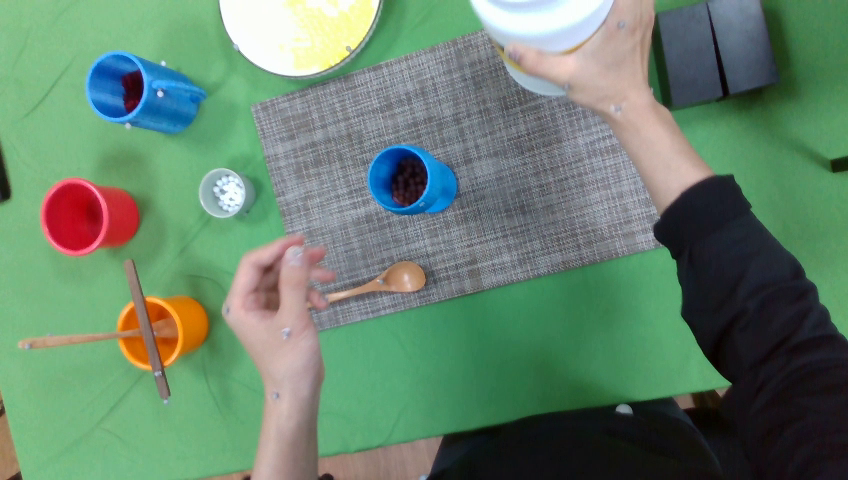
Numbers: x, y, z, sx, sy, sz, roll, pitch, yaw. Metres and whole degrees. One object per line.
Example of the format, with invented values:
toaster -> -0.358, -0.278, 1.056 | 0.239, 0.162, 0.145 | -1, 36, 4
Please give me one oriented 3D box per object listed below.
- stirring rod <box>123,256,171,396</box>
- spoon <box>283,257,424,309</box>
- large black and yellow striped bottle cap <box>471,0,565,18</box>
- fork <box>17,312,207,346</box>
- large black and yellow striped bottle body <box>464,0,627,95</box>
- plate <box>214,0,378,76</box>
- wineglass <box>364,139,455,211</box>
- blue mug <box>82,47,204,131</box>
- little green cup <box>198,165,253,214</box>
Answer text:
stirring rod -> -0.337, 0.104, 0.739 | 0.014, 0.006, 0.176 | -15, 91, 12
spoon -> -0.091, 0.059, 0.754 | 0.193, 0.021, 0.042 | -16, 112, 11
large black and yellow striped bottle cap -> 0.076, -0.228, 0.463 | 0.114, 0.019, 0.114 | -3, 83, 20
fork -> -0.378, 0.112, 0.749 | 0.208, 0.018, 0.028 | -3, 101, -33
large black and yellow striped bottle body -> 0.109, -0.220, 0.540 | 0.130, 0.185, 0.130 | -2, 84, 21
plate -> -0.153, -0.303, 0.736 | 0.209, 0.038, 0.209 | 1, 94, 10
wineglass -> -0.011, -0.067, 0.654 | 0.073, 0.172, 0.074 | 1, 93, 11
blue mug -> -0.331, -0.183, 0.742 | 0.116, 0.106, 0.082 | -1, 93, 10
little green cup -> -0.250, -0.063, 0.770 | 0.061, 0.038, 0.061 | 1, 94, 11
